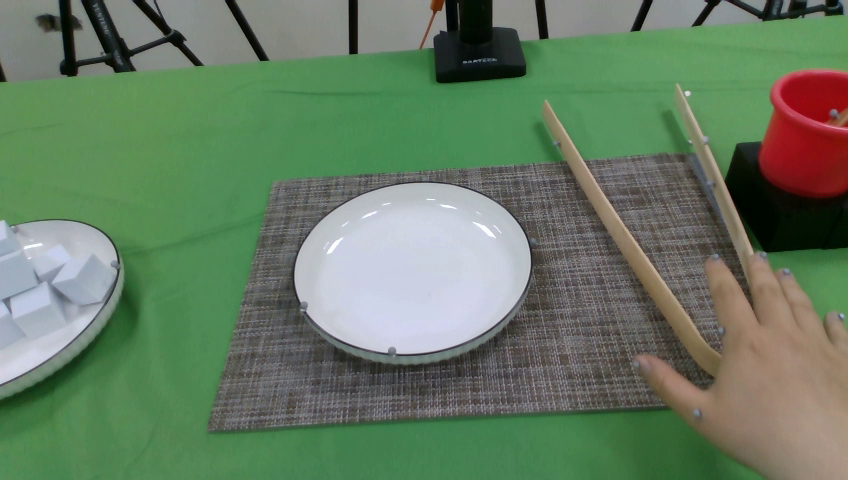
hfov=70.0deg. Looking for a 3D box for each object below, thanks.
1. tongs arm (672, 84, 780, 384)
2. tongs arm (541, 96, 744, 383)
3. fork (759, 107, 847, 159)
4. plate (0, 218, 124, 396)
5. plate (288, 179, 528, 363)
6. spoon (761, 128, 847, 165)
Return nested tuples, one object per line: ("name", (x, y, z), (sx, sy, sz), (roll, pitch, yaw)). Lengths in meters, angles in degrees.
("tongs arm", (0.263, -0.037, 0.574), (0.051, 0.027, 0.381), (0, 45, 3))
("tongs arm", (0.180, -0.029, 0.576), (0.028, 0.028, 0.383), (-8, 44, -9))
("fork", (0.382, -0.123, 0.497), (0.207, 0.019, 0.028), (-35, 12, 28))
("plate", (-0.371, 0.062, 0.538), (0.209, 0.038, 0.207), (-3, 44, 3))
("plate", (-0.013, 0.025, 0.535), (0.207, 0.039, 0.205), (-3, 45, 3))
("spoon", (0.355, -0.091, 0.467), (0.041, 0.193, 0.021), (-29, 91, -29))
